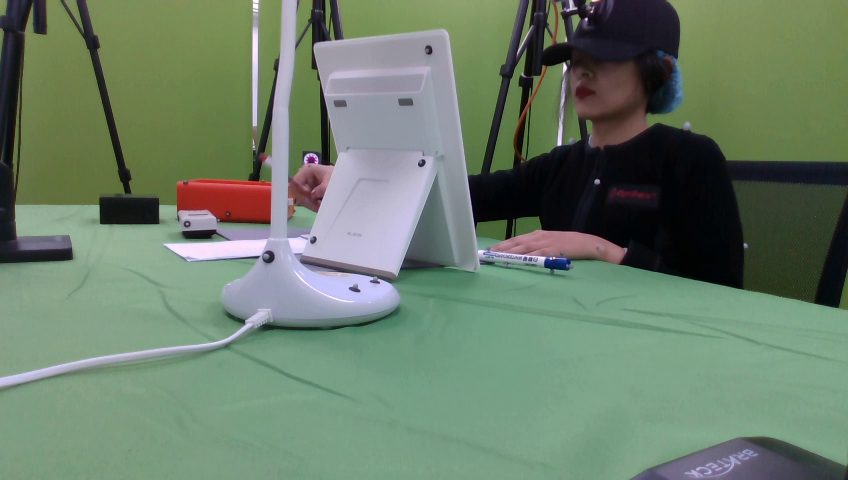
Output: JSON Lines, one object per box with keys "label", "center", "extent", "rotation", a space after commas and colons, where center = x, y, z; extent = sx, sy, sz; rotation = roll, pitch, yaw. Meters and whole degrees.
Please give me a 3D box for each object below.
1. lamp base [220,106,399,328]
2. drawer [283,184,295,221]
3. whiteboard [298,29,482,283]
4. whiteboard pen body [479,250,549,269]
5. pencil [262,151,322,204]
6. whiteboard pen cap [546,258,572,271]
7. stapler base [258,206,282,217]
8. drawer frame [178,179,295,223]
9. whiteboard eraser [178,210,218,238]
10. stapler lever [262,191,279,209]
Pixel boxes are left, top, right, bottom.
{"label": "lamp base", "center": [-0.101, -0.023, 0.531], "extent": [0.160, 0.180, 0.179], "rotation": [4, 10, 10]}
{"label": "drawer", "center": [-0.394, -0.086, 1.317], "extent": [0.212, 0.073, 0.194], "rotation": [1, 8, -7]}
{"label": "whiteboard", "center": [-0.075, -0.082, 0.742], "extent": [0.216, 0.305, 0.144], "rotation": [9, 29, 37]}
{"label": "whiteboard pen body", "center": [0.130, 0.028, 0.827], "extent": [0.140, 0.017, 0.017], "rotation": [7, 8, 38]}
{"label": "pencil", "center": [-0.204, -0.087, 1.048], "extent": [0.195, 0.012, 0.012], "rotation": [43, -12, -26]}
{"label": "whiteboard pen cap", "center": [0.175, 0.032, 0.790], "extent": [0.033, 0.018, 0.018], "rotation": [3, 7, 37]}
{"label": "stapler base", "center": [-0.331, -0.064, 1.305], "extent": [0.041, 0.024, 0.130], "rotation": [9, -2, -9]}
{"label": "drawer frame", "center": [-0.397, -0.088, 1.315], "extent": [0.214, 0.082, 0.201], "rotation": [1, 8, -7]}
{"label": "whiteboard eraser", "center": [-0.380, -0.027, 1.014], "extent": [0.056, 0.042, 0.112], "rotation": [0, 8, -25]}
{"label": "stapler lever", "center": [-0.329, -0.085, 1.306], "extent": [0.027, 0.040, 0.118], "rotation": [9, 3, -9]}
